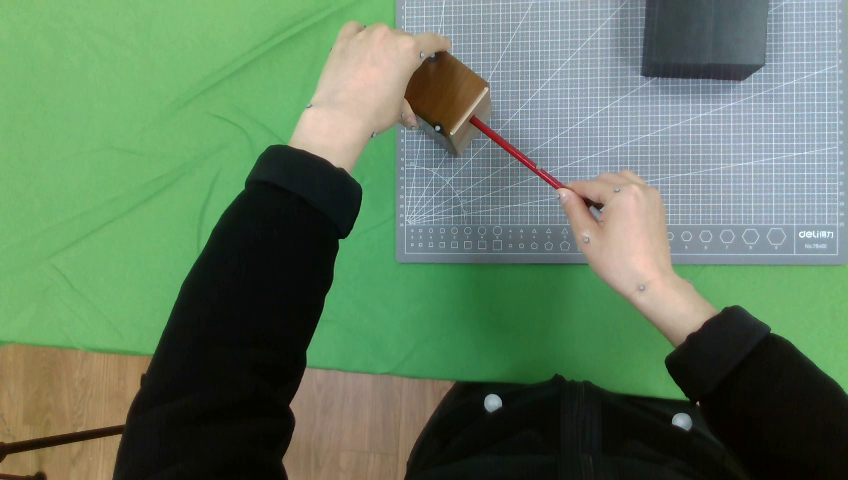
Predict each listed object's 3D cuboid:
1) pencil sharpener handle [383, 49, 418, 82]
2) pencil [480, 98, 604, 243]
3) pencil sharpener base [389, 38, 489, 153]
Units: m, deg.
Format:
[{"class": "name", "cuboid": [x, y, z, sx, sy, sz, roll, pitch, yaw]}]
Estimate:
[{"class": "pencil sharpener handle", "cuboid": [-0.026, -0.167, 0.578, 0.030, 0.068, 0.036, 40, 80, 6]}, {"class": "pencil", "cuboid": [0.096, -0.074, 0.544, 0.012, 0.012, 0.193, -39, 80, 5]}, {"class": "pencil sharpener base", "cuboid": [0.016, -0.137, 0.586, 0.076, 0.107, 0.061, 40, 94, 6]}]
